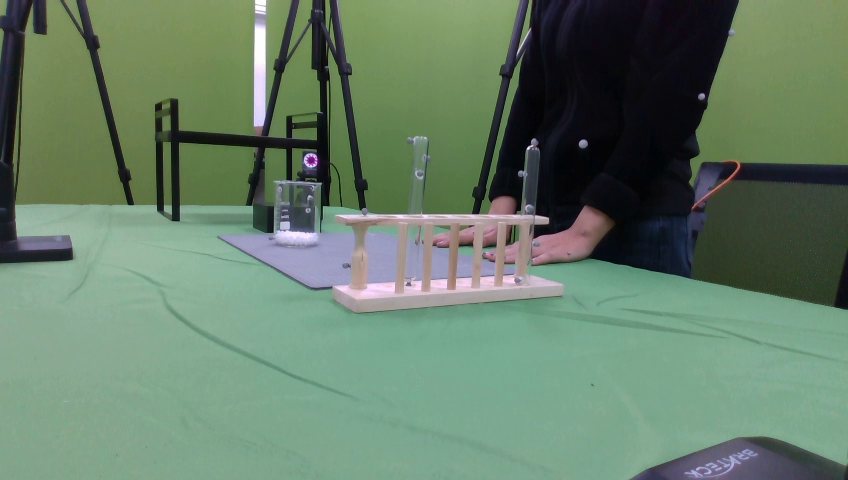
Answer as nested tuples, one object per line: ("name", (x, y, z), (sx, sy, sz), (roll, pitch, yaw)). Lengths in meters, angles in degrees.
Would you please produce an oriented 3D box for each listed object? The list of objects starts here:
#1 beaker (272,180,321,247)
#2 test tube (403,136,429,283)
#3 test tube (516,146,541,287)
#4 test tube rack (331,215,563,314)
("beaker", (-0.197, -0.042, 0.944), (0.073, 0.100, 0.084), (7, 8, 29))
("test tube", (-0.009, -0.031, 0.617), (0.017, 0.150, 0.017), (5, 2, 0))
("test tube", (0.110, -0.024, 0.638), (0.017, 0.150, 0.017), (4, 6, 0))
("test tube rack", (0.031, 0.019, 0.626), (0.243, 0.085, 0.066), (-1, 8, -28))
